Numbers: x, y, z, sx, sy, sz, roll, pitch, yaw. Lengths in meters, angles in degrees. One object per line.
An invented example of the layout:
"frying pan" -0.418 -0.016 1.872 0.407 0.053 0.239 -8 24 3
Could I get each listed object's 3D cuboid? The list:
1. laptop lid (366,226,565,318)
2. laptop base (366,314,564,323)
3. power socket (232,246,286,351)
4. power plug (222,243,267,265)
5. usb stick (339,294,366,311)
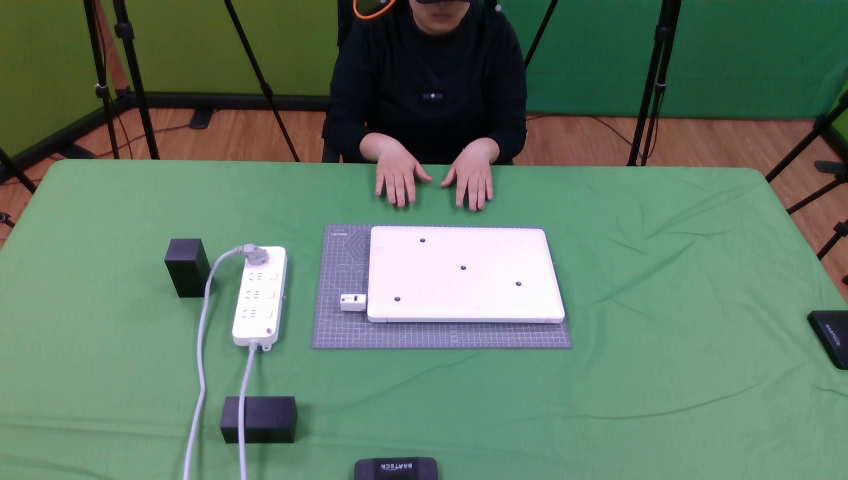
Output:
"laptop lid" 0.072 0.054 1.137 0.357 0.013 0.240 2 44 -3
"laptop base" 0.071 0.064 1.144 0.355 0.023 0.234 1 43 -4
"power socket" -0.290 0.095 1.077 0.072 0.033 0.225 -2 46 -4
"power plug" -0.325 0.028 1.112 0.072 0.053 0.035 5 45 5
"usb stick" -0.119 0.110 1.068 0.059 0.027 0.021 4 47 -5
